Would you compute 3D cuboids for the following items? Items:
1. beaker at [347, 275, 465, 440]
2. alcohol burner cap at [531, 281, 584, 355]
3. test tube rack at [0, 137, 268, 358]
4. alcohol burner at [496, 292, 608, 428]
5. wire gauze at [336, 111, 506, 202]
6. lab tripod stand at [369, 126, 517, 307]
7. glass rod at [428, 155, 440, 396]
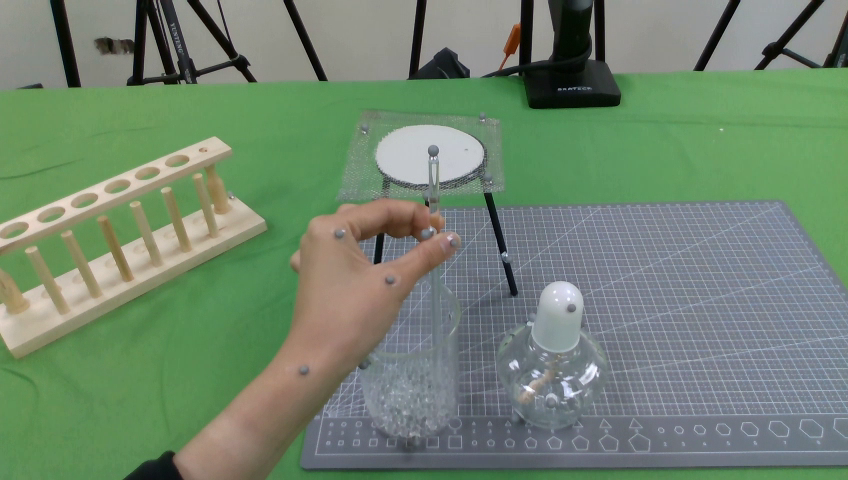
[{"bbox_3d":[-0.013,0.084,0.424,0.074,0.101,0.083,-33,48,-31],"label":"beaker"},{"bbox_3d":[0.089,0.048,0.393,0.034,0.048,0.033,1,41,0],"label":"alcohol burner cap"},{"bbox_3d":[-0.274,-0.002,0.557,0.242,0.086,0.066,-32,48,-30],"label":"test tube rack"},{"bbox_3d":[0.089,0.075,0.416,0.078,0.120,0.077,-1,42,2],"label":"alcohol burner"},{"bbox_3d":[0.001,-0.068,0.473,0.121,0.011,0.124,1,41,3],"label":"wire gauze"},{"bbox_3d":[0.013,-0.019,0.518,0.148,0.132,0.147,0,39,1],"label":"lab tripod stand"},{"bbox_3d":[0.006,0.035,0.396,0.008,0.201,0.008,0,36,1],"label":"glass rod"}]
